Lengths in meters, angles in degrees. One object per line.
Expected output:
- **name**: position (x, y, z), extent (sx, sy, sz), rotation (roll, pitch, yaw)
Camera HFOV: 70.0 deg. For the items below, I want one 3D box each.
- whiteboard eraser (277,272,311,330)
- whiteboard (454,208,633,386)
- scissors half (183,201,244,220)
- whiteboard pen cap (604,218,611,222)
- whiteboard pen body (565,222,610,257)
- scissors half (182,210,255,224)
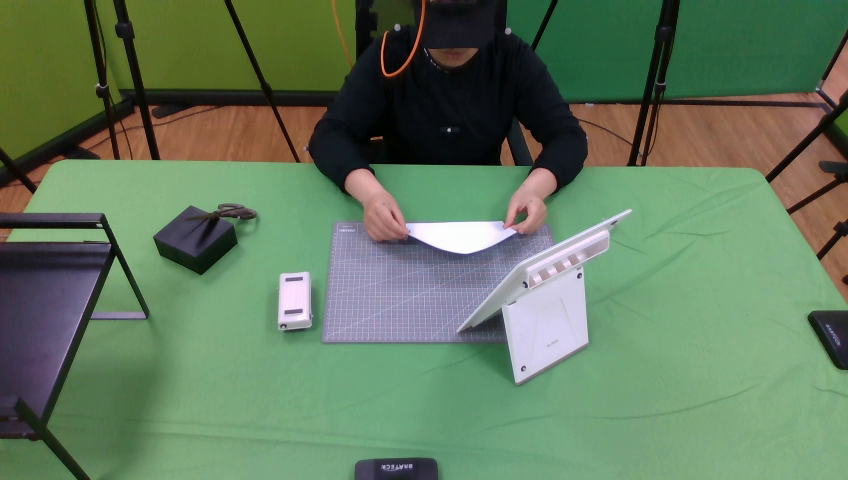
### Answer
- **whiteboard eraser**: position (-0.228, 0.108, 1.062), extent (0.056, 0.042, 0.112), rotation (-3, 46, -10)
- **whiteboard**: position (0.211, 0.111, 0.954), extent (0.217, 0.306, 0.143), rotation (-22, 72, -24)
- **scissors half**: position (-0.405, -0.054, 1.164), extent (0.040, 0.013, 0.175), rotation (28, 18, 8)
- **whiteboard pen cap**: position (0.378, -0.031, 1.255), extent (0.033, 0.018, 0.018), rotation (-33, 57, -29)
- **whiteboard pen body**: position (0.335, -0.004, 1.228), extent (0.141, 0.017, 0.017), rotation (-32, 56, -29)
- **scissors half**: position (-0.389, -0.043, 1.158), extent (0.040, 0.013, 0.175), rotation (40, 21, 23)
